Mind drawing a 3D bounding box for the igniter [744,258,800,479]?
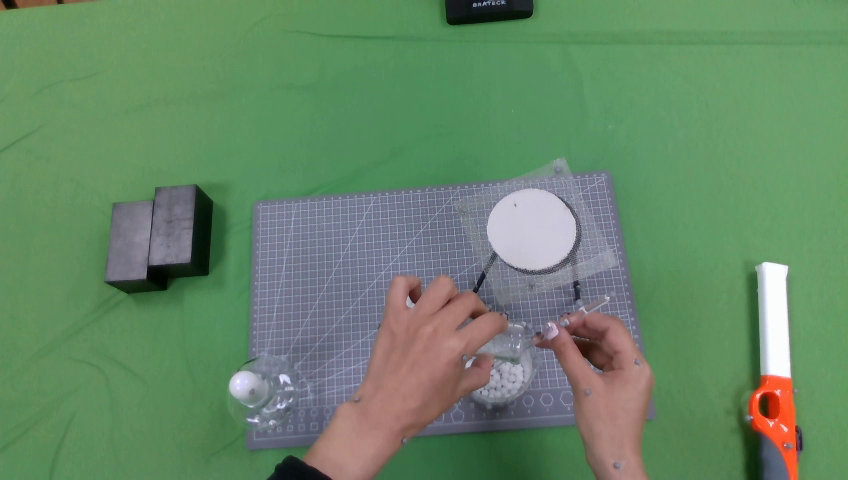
[{"bbox_3d":[0.373,0.153,0.652,0.057,0.025,0.275,10,72,-4],"label":"igniter"}]

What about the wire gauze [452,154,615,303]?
[{"bbox_3d":[0.105,-0.013,0.594,0.125,0.011,0.120,-21,73,-3],"label":"wire gauze"}]

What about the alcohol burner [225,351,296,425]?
[{"bbox_3d":[-0.176,0.153,0.635,0.078,0.120,0.077,0,72,2],"label":"alcohol burner"}]

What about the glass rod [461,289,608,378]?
[{"bbox_3d":[0.091,0.089,0.549,0.008,0.200,0.008,20,50,-26],"label":"glass rod"}]

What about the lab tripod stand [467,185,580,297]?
[{"bbox_3d":[0.110,0.011,0.657,0.148,0.132,0.147,-1,73,4],"label":"lab tripod stand"}]

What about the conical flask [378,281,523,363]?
[{"bbox_3d":[0.026,0.080,0.542,0.121,0.076,0.075,7,71,12],"label":"conical flask"}]

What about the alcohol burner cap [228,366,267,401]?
[{"bbox_3d":[-0.177,0.140,0.602,0.034,0.048,0.033,1,69,-1],"label":"alcohol burner cap"}]

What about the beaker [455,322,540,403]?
[{"bbox_3d":[0.074,0.132,0.636,0.084,0.101,0.073,-7,71,0],"label":"beaker"}]
